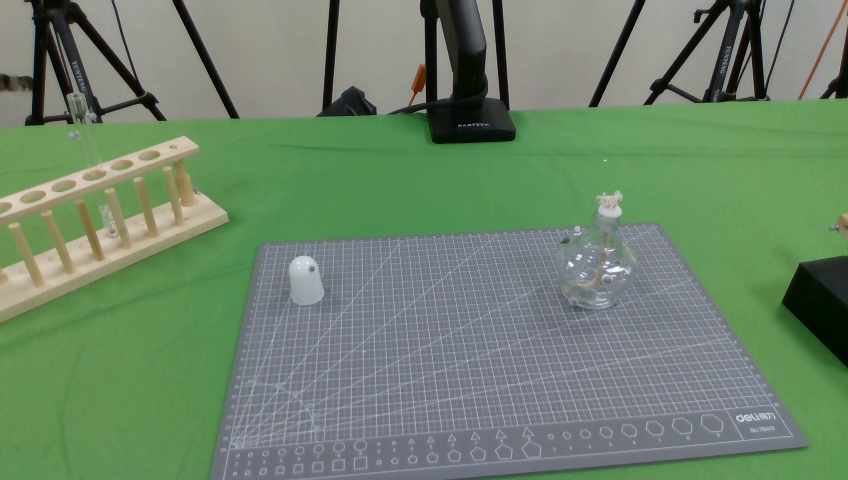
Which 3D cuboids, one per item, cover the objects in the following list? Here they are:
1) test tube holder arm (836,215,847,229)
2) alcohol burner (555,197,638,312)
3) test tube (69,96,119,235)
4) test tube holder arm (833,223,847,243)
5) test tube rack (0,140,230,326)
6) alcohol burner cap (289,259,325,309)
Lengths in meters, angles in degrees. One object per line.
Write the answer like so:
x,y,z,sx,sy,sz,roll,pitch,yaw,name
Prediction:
0.420,0.004,0.568,0.015,0.010,0.087,0,36,-3,test tube holder arm
0.164,0.009,0.565,0.078,0.120,0.077,1,39,0,alcohol burner
-0.330,-0.071,0.611,0.017,0.151,0.017,2,32,-1,test tube
0.421,0.035,0.535,0.015,0.013,0.176,0,36,-3,test tube holder arm
-0.332,-0.016,0.620,0.242,0.086,0.066,-30,46,-34,test tube rack
-0.114,0.039,0.581,0.034,0.048,0.033,0,37,0,alcohol burner cap
